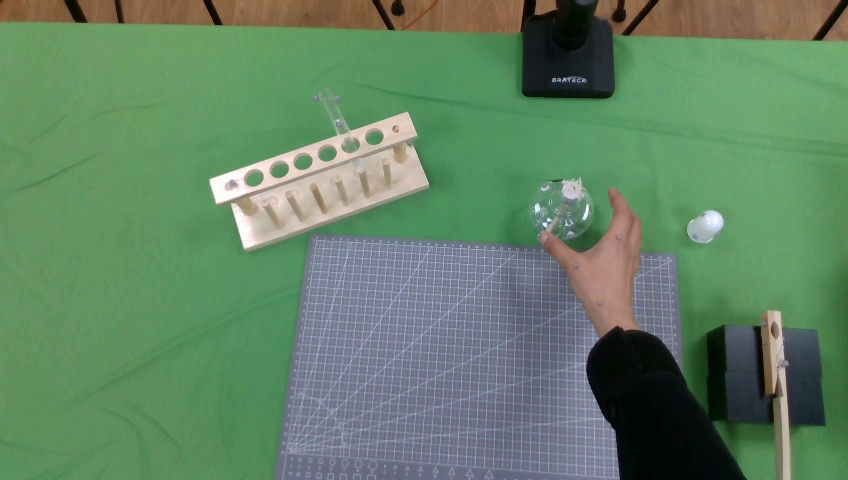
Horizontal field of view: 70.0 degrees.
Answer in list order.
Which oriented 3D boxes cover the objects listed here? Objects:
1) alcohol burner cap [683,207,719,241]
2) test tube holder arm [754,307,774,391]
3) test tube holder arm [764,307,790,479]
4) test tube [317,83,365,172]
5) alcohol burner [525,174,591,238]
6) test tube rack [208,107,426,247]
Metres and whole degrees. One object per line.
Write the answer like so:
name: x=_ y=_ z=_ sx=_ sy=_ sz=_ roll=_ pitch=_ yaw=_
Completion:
alcohol burner cap: x=0.334 y=-0.021 z=0.725 sx=0.034 sy=0.048 sz=0.033 roll=-1 pitch=71 yaw=3
test tube holder arm: x=0.362 y=0.115 z=0.643 sx=0.010 sy=0.015 sz=0.087 roll=2 pitch=74 yaw=3
test tube holder arm: x=0.365 y=0.159 z=0.630 sx=0.013 sy=0.015 sz=0.177 roll=2 pitch=74 yaw=2
test tube: x=-0.092 y=-0.123 z=0.693 sx=0.017 sy=0.151 sz=0.017 roll=-4 pitch=61 yaw=8
alcohol burner: x=0.158 y=-0.046 z=0.701 sx=0.078 sy=0.120 sz=0.077 roll=0 pitch=73 yaw=1
test tube rack: x=-0.123 y=-0.074 z=0.733 sx=0.242 sy=0.086 sz=0.066 roll=-20 pitch=72 yaw=-4
